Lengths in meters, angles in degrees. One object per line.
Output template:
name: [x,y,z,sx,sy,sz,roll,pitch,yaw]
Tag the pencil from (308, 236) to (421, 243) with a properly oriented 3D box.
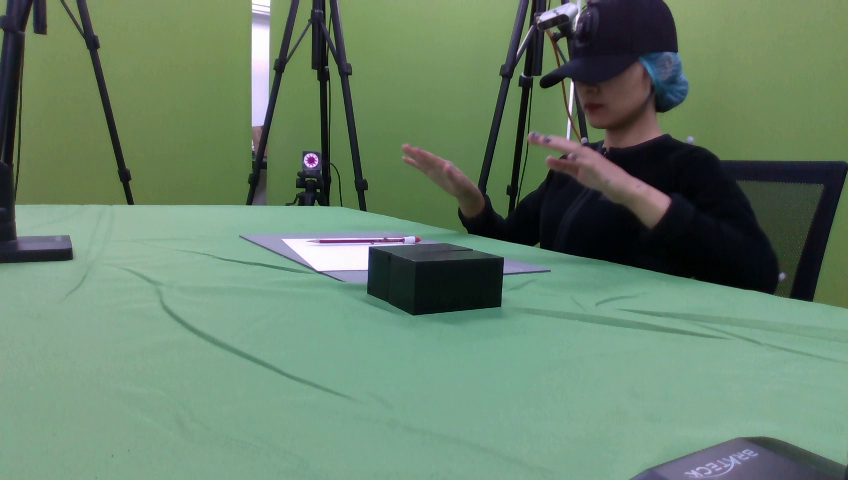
pencil: [-0.093,0.000,0.982,0.195,0.012,0.012,-1,8,-27]
